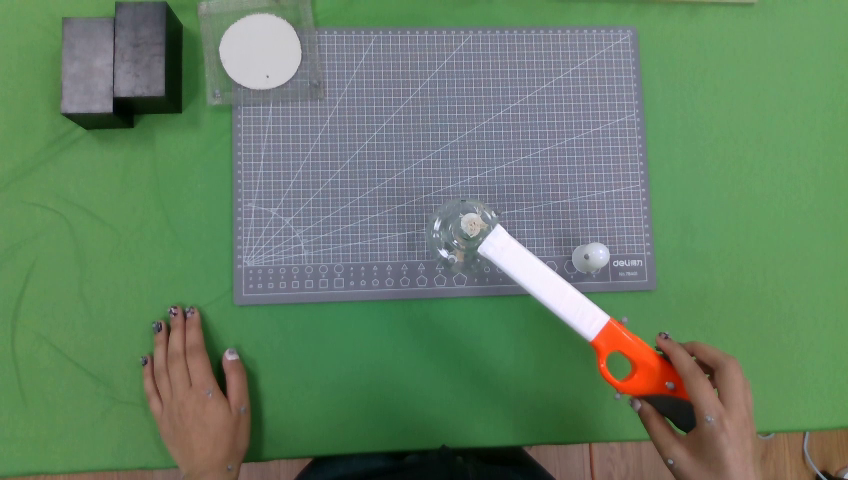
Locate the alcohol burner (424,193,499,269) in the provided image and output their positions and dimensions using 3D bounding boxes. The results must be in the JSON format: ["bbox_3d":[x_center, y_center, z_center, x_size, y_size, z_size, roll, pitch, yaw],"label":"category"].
[{"bbox_3d":[0.040,-0.012,0.596,0.078,0.119,0.077,1,81,-5],"label":"alcohol burner"}]

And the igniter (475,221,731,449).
[{"bbox_3d":[0.159,0.083,0.533,0.276,0.025,0.057,40,88,2],"label":"igniter"}]

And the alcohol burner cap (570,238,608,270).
[{"bbox_3d":[0.176,0.013,0.638,0.034,0.048,0.034,0,82,-2],"label":"alcohol burner cap"}]

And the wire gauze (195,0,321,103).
[{"bbox_3d":[-0.180,-0.210,0.654,0.125,0.011,0.121,-7,84,-4],"label":"wire gauze"}]
